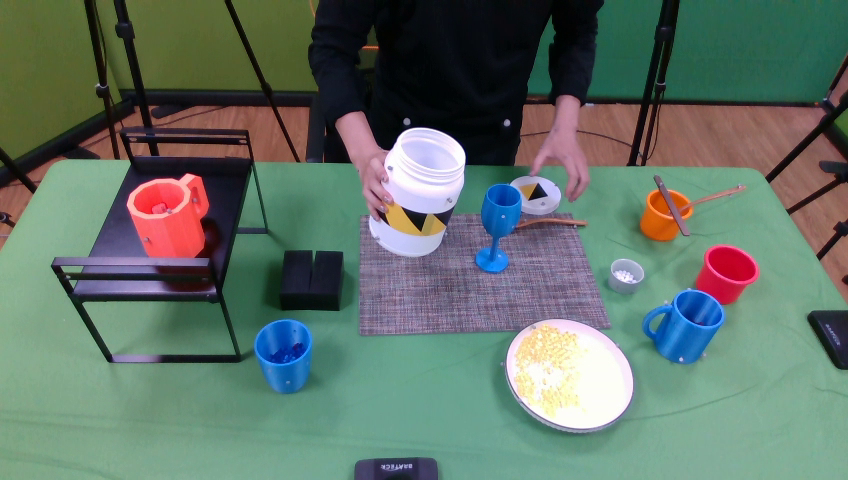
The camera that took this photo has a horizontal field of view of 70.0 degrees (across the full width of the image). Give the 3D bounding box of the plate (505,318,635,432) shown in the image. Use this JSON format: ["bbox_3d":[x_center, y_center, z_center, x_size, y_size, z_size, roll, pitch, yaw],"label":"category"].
[{"bbox_3d":[0.235,0.221,0.991,0.209,0.038,0.208,2,45,-2],"label":"plate"}]

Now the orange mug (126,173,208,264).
[{"bbox_3d":[-0.371,-0.039,0.902,0.083,0.101,0.126,18,52,14],"label":"orange mug"}]

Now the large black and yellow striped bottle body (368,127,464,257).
[{"bbox_3d":[-0.012,-0.077,0.980,0.131,0.184,0.130,11,44,-10],"label":"large black and yellow striped bottle body"}]

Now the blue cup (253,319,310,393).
[{"bbox_3d":[-0.217,0.187,0.943,0.093,0.101,0.092,3,45,-3],"label":"blue cup"}]

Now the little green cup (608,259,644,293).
[{"bbox_3d":[0.379,0.070,1.147,0.061,0.039,0.061,3,45,-2],"label":"little green cup"}]

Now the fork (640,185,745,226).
[{"bbox_3d":[0.534,-0.069,1.215,0.207,0.019,0.028,-26,27,33],"label":"fork"}]

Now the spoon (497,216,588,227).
[{"bbox_3d":[0.245,-0.039,1.247,0.194,0.022,0.041,-1,26,-6],"label":"spoon"}]

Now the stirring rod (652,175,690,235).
[{"bbox_3d":[0.492,-0.072,1.211,0.014,0.006,0.175,-1,46,-7],"label":"stirring rod"}]

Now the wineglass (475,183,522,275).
[{"bbox_3d":[0.135,-0.020,1.115,0.074,0.173,0.073,2,46,-2],"label":"wineglass"}]

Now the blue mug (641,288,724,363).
[{"bbox_3d":[0.432,0.144,1.033,0.116,0.106,0.082,8,46,4],"label":"blue mug"}]

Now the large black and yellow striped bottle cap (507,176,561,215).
[{"bbox_3d":[0.237,-0.098,1.312,0.115,0.019,0.114,2,43,-1],"label":"large black and yellow striped bottle cap"}]
